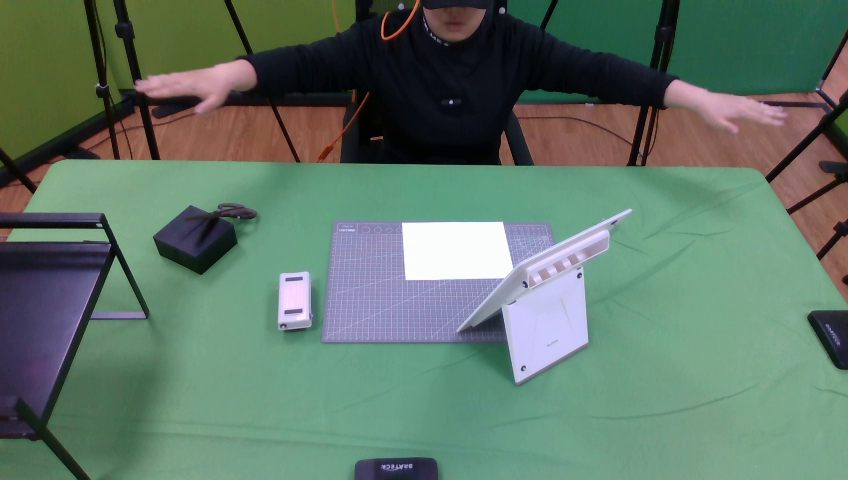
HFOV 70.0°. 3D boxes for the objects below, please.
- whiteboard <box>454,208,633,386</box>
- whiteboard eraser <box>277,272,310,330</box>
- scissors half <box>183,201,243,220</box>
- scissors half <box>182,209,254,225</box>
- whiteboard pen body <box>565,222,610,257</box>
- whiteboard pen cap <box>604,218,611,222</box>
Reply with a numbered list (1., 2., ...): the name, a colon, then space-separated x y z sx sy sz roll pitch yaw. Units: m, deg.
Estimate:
1. whiteboard: 0.211 0.111 0.954 0.217 0.306 0.143 -22 72 -24
2. whiteboard eraser: -0.228 0.108 1.062 0.056 0.042 0.112 -3 46 -9
3. scissors half: -0.405 -0.054 1.163 0.040 0.013 0.175 30 18 7
4. scissors half: -0.390 -0.042 1.158 0.040 0.013 0.175 41 22 22
5. whiteboard pen body: 0.335 -0.004 1.228 0.141 0.017 0.017 -32 56 -29
6. whiteboard pen cap: 0.378 -0.031 1.255 0.033 0.018 0.018 -33 57 -29
